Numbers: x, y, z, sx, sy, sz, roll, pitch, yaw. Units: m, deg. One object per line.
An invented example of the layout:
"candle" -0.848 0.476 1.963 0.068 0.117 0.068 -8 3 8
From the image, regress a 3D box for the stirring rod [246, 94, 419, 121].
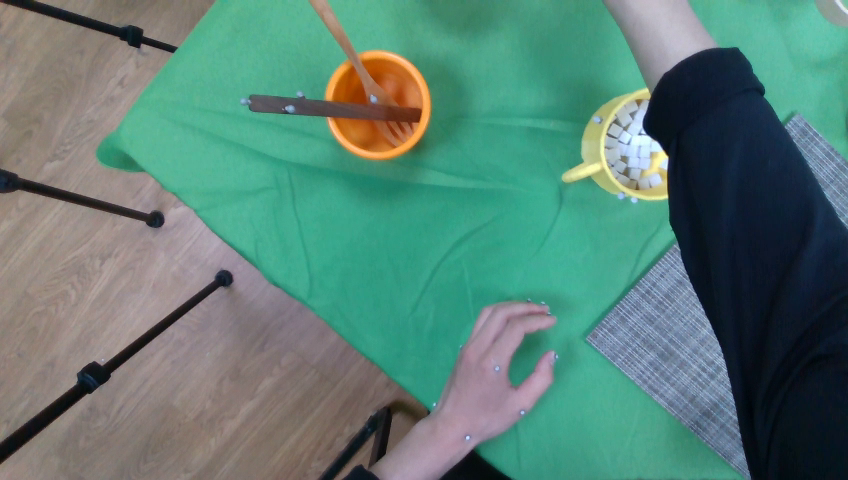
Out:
"stirring rod" -0.071 -0.113 0.524 0.177 0.006 0.014 -7 102 -41

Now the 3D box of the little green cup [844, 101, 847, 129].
"little green cup" 0.436 -0.122 0.575 0.061 0.038 0.061 0 98 1

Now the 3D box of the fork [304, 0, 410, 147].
"fork" -0.063 -0.154 0.513 0.028 0.018 0.209 -33 139 2

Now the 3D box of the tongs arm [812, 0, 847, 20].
"tongs arm" 0.294 -0.368 0.508 0.051 0.026 0.385 -21 95 -1

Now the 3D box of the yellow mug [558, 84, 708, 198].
"yellow mug" 0.187 -0.085 0.566 0.131 0.064 0.100 -24 98 4

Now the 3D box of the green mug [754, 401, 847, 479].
"green mug" 0.400 0.204 0.584 0.125 0.104 0.093 -32 96 4
